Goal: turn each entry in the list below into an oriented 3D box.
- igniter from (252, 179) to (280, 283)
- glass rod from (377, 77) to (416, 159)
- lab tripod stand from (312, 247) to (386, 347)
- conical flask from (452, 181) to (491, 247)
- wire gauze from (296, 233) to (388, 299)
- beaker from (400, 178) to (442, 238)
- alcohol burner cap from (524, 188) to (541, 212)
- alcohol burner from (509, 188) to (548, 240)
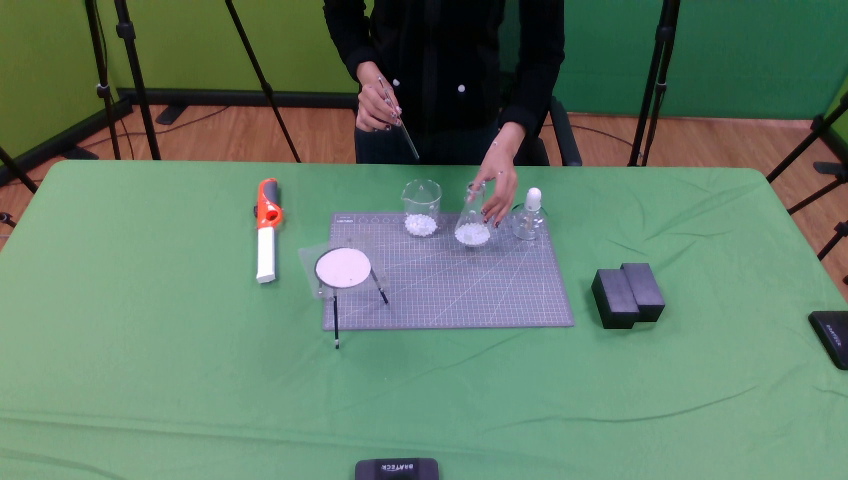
[{"bbox_3d":[-0.312,-0.027,1.197,0.057,0.025,0.274,-12,47,-2],"label":"igniter"},{"bbox_3d":[-0.050,-0.230,1.165,0.008,0.201,0.008,-13,46,14],"label":"glass rod"},{"bbox_3d":[-0.134,0.085,1.028,0.148,0.132,0.147,2,45,-1],"label":"lab tripod stand"},{"bbox_3d":[0.093,-0.052,1.142,0.075,0.122,0.075,0,41,0],"label":"conical flask"},{"bbox_3d":[-0.133,0.041,0.977,0.125,0.011,0.120,-12,47,-16],"label":"wire gauze"},{"bbox_3d":[-0.008,-0.059,1.200,0.084,0.101,0.073,-14,48,-17],"label":"beaker"},{"bbox_3d":[0.212,-0.081,1.177,0.034,0.048,0.033,-1,53,2],"label":"alcohol burner cap"},{"bbox_3d":[0.211,-0.057,1.204,0.078,0.120,0.077,1,47,-1],"label":"alcohol burner"}]
